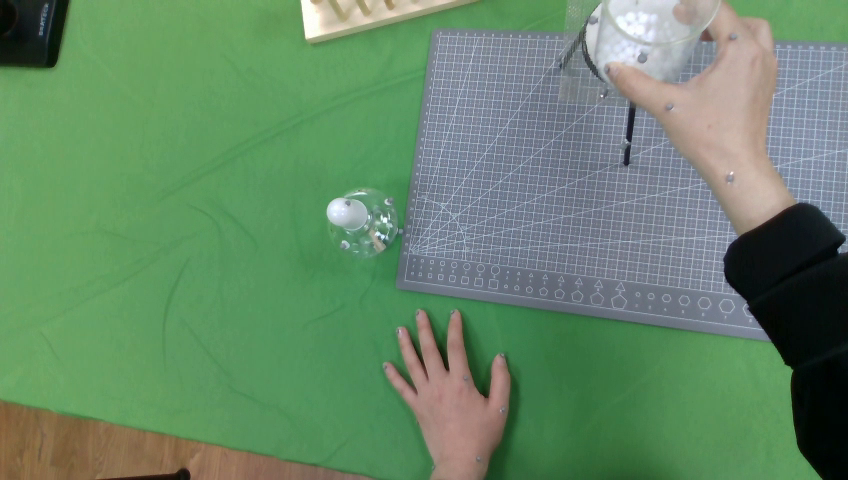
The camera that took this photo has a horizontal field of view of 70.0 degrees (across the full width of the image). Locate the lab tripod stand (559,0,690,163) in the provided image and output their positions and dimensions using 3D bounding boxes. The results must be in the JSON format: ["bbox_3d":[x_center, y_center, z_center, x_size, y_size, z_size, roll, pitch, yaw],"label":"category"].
[{"bbox_3d":[0.193,-0.160,0.572,0.148,0.132,0.148,-1,84,11],"label":"lab tripod stand"}]

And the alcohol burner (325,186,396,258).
[{"bbox_3d":[-0.071,-0.022,0.629,0.078,0.120,0.077,-2,81,12],"label":"alcohol burner"}]

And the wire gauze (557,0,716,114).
[{"bbox_3d":[0.179,-0.169,0.507,0.125,0.011,0.121,6,86,14],"label":"wire gauze"}]

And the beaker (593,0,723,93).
[{"bbox_3d":[0.159,-0.155,0.437,0.083,0.101,0.074,22,87,13],"label":"beaker"}]

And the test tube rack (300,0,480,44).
[{"bbox_3d":[-0.036,-0.293,0.668,0.242,0.085,0.066,-10,80,11],"label":"test tube rack"}]

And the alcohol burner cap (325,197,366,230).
[{"bbox_3d":[-0.080,-0.028,0.594,0.034,0.048,0.034,-1,86,12],"label":"alcohol burner cap"}]
